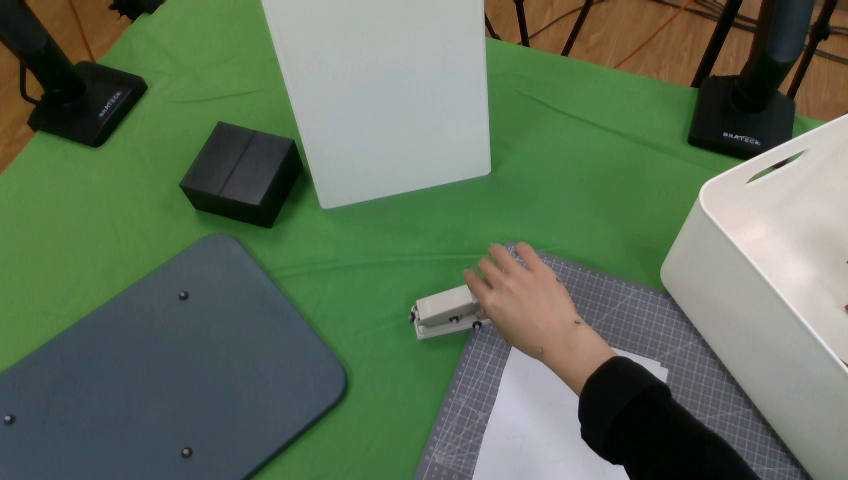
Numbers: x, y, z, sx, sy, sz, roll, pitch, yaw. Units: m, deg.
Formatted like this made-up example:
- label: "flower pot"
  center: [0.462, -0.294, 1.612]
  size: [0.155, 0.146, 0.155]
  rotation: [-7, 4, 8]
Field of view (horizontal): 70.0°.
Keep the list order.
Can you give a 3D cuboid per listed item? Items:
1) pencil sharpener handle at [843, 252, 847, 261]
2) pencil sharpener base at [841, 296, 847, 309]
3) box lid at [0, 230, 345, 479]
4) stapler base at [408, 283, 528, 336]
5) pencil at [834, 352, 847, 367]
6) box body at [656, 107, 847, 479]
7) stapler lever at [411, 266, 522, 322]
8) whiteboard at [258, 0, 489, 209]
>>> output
- label: "pencil sharpener handle"
  center: [0.458, 0.009, 0.611]
  size: [0.036, 0.068, 0.030]
  rotation: [-18, 60, -24]
- label: "pencil sharpener base"
  center: [0.485, 0.053, 0.600]
  size: [0.061, 0.108, 0.076]
  rotation: [-25, 62, -13]
- label: "box lid"
  center: [-0.294, 0.169, 0.621]
  size: [0.371, 0.015, 0.261]
  rotation: [-38, 66, -18]
- label: "stapler base"
  center: [0.048, 0.068, 0.657]
  size: [0.130, 0.024, 0.041]
  rotation: [-14, 57, -2]
- label: "pencil"
  center: [0.464, 0.157, 0.598]
  size: [0.012, 0.012, 0.192]
  rotation: [-39, 64, -18]
- label: "box body"
  center: [0.430, 0.076, 0.563]
  size: [0.254, 0.162, 0.360]
  rotation: [-25, 63, -12]
- label: "stapler lever"
  center: [0.044, 0.056, 0.636]
  size: [0.118, 0.040, 0.026]
  rotation: [-13, 57, -3]
- label: "whiteboard"
  center: [-0.054, -0.219, 0.696]
  size: [0.217, 0.308, 0.142]
  rotation: [-12, 42, -4]
